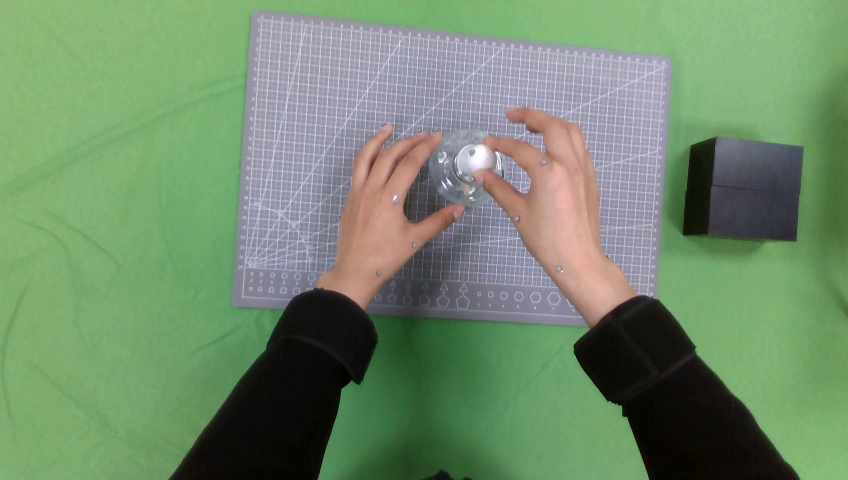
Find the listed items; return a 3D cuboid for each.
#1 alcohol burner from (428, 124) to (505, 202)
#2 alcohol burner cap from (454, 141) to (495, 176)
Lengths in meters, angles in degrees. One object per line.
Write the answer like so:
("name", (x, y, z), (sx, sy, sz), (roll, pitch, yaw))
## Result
("alcohol burner", (0.044, -0.076, 0.586), (0.078, 0.119, 0.078), (0, 90, -8))
("alcohol burner cap", (0.048, -0.075, 0.551), (0.034, 0.047, 0.034), (-1, 95, -9))
